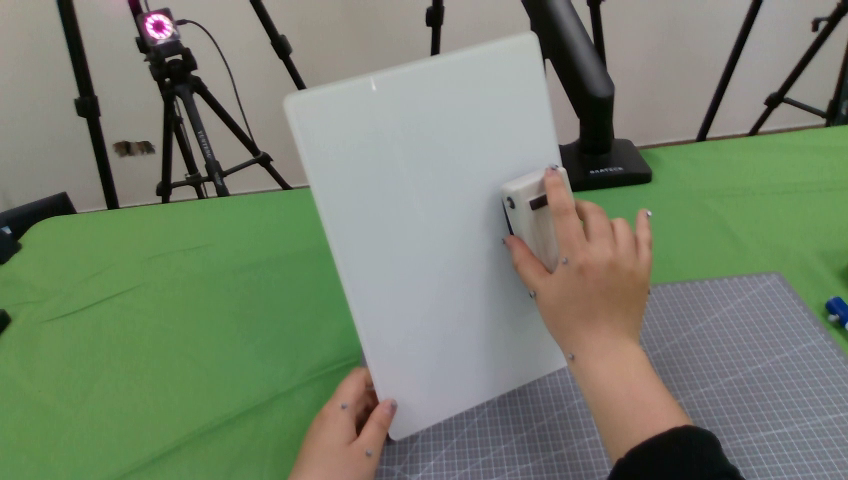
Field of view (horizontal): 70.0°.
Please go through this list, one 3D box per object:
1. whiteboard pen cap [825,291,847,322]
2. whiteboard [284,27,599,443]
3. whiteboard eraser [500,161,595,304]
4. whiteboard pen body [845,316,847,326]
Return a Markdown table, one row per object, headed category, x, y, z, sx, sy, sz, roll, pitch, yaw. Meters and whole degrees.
| category | x | y | z | sx | sy | sz | roll | pitch | yaw |
| --- | --- | --- | --- | --- | --- | --- | --- | --- | --- |
| whiteboard pen cap | 0.403 | 0.065 | 0.581 | 0.018 | 0.018 | 0.033 | -8 | 34 | 1 |
| whiteboard | 0.012 | -0.013 | 0.572 | 0.217 | 0.307 | 0.143 | -19 | 17 | -14 |
| whiteboard eraser | 0.104 | -0.006 | 0.514 | 0.055 | 0.113 | 0.041 | -21 | 17 | -10 |
| whiteboard pen body | 0.406 | 0.099 | 0.534 | 0.017 | 0.017 | 0.139 | -7 | 35 | 2 |
